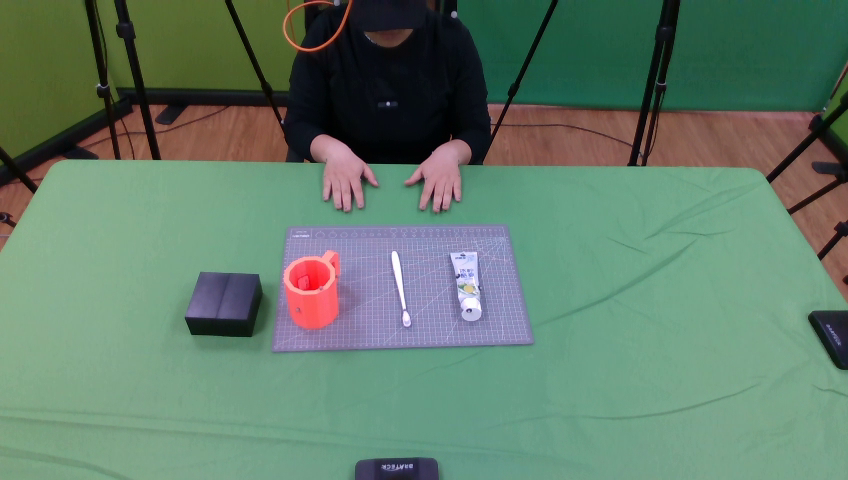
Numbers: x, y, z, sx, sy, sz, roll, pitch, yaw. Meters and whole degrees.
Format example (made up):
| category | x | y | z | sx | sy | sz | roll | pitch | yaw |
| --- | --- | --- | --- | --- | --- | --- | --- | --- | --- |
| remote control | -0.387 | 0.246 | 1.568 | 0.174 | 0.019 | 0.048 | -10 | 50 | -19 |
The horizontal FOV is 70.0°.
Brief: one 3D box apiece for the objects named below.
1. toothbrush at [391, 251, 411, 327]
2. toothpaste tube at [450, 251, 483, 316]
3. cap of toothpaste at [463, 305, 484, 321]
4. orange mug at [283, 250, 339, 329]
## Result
| category | x | y | z | sx | sy | sz | roll | pitch | yaw |
| --- | --- | --- | --- | --- | --- | --- | --- | --- | --- |
| toothbrush | -0.044 | 0.085 | 1.112 | 0.014 | 0.017 | 0.180 | -14 | 46 | 1 |
| toothpaste tube | 0.084 | 0.077 | 1.122 | 0.055 | 0.035 | 0.164 | 3 | 42 | -8 |
| cap of toothpaste | 0.087 | 0.128 | 1.064 | 0.037 | 0.037 | 0.011 | 2 | 40 | -1 |
| orange mug | -0.186 | 0.078 | 1.052 | 0.083 | 0.101 | 0.126 | 20 | 52 | 15 |
